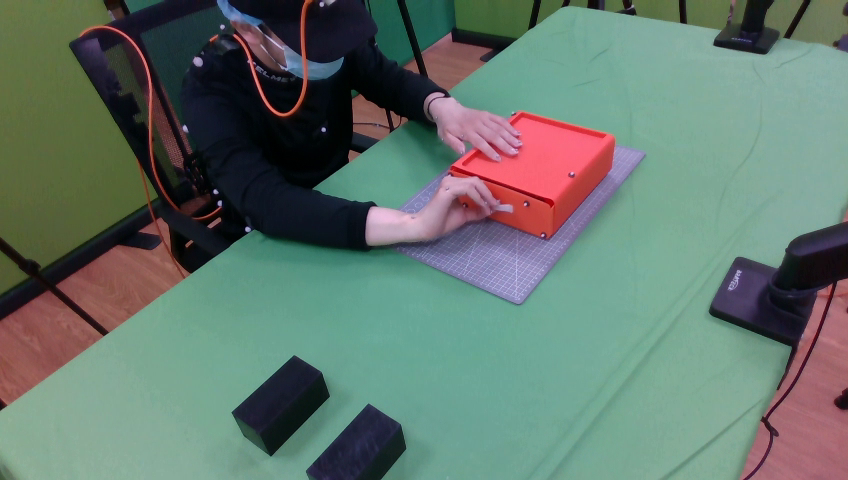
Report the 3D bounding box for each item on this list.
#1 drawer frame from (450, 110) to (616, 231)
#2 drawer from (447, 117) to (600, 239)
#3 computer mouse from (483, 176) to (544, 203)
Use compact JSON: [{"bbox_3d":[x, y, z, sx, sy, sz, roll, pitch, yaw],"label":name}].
[{"bbox_3d":[0.186,-0.123,1.035,0.200,0.083,0.214,22,48,31],"label":"drawer frame"},{"bbox_3d":[0.177,-0.114,1.024,0.193,0.073,0.212,23,49,31],"label":"drawer"},{"bbox_3d":[0.151,-0.088,1.016,0.063,0.041,0.116,-16,50,-21],"label":"computer mouse"}]
